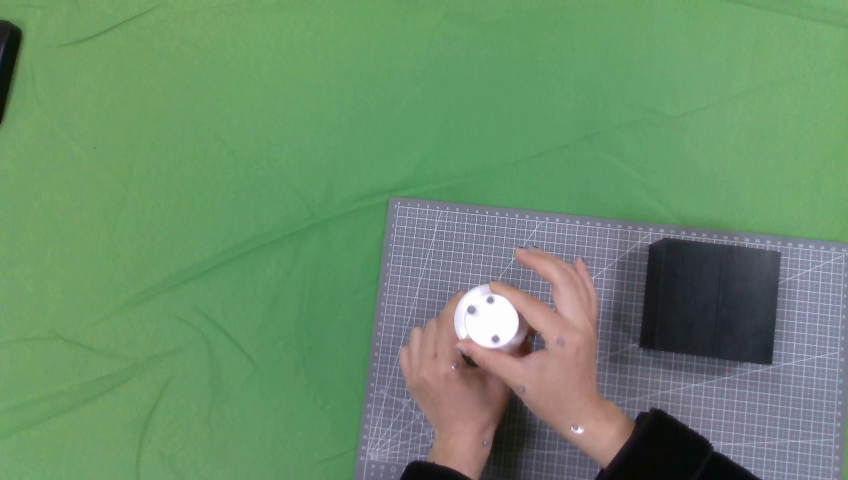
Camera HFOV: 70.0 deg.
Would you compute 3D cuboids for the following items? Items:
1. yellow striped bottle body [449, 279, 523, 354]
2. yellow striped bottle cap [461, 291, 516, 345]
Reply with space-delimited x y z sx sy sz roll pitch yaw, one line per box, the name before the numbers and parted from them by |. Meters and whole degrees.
yellow striped bottle body | 0.054 0.068 0.536 0.063 0.120 0.062 -1 82 4
yellow striped bottle cap | 0.052 0.062 0.485 0.044 0.019 0.044 -1 84 7
